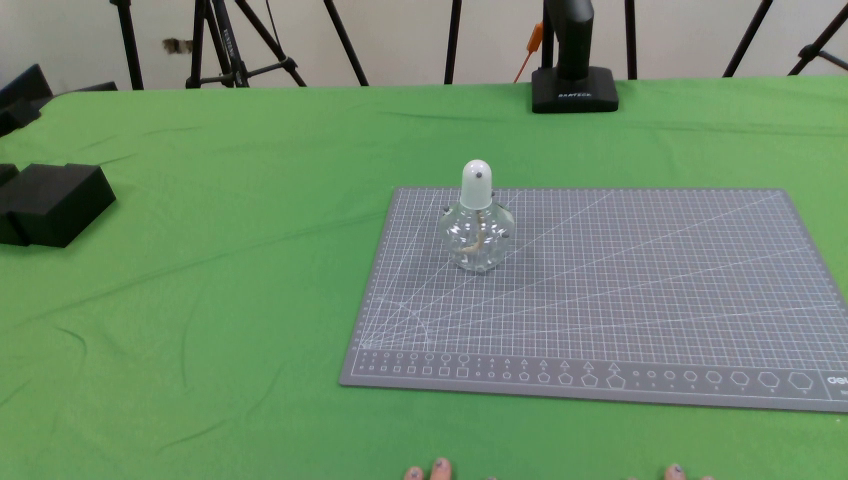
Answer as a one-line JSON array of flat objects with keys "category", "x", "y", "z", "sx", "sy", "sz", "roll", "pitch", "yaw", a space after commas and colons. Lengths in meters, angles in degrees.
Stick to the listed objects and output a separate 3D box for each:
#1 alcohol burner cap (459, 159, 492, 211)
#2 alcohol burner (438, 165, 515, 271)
[{"category": "alcohol burner cap", "x": 0.051, "y": -0.055, "z": 0.579, "sx": 0.034, "sy": 0.048, "sz": 0.033, "roll": 1, "pitch": 42, "yaw": 0}, {"category": "alcohol burner", "x": 0.052, "y": -0.027, "z": 0.603, "sx": 0.078, "sy": 0.120, "sz": 0.077, "roll": -2, "pitch": 41, "yaw": 2}]
